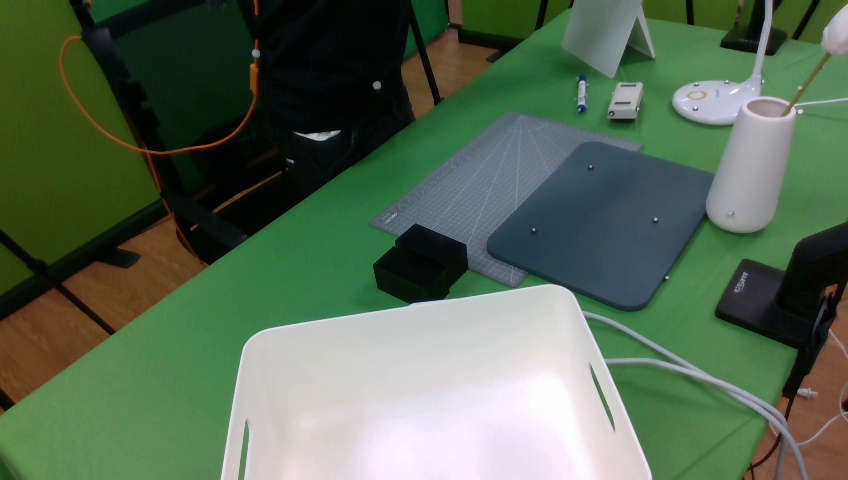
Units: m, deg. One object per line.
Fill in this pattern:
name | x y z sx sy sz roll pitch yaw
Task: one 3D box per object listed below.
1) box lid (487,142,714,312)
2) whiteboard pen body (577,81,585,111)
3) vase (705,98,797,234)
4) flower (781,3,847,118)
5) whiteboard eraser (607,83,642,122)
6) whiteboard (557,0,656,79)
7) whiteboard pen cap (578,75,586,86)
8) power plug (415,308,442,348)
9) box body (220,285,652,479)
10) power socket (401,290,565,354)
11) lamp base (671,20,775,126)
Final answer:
box lid | 0.298 -0.041 0.986 0.261 0.015 0.372 23 49 30
whiteboard pen body | 0.335 -0.313 1.292 0.017 0.017 0.140 3 40 12
vase | 0.480 -0.104 0.888 0.098 0.201 0.097 -4 42 4
flower | 0.480 -0.157 0.824 0.044 0.362 0.038 -9 56 -9
whiteboard eraser | 0.406 -0.277 1.222 0.055 0.042 0.112 9 43 21
whiteboard | 0.462 -0.542 1.366 0.145 0.306 0.215 -3 36 -25
whiteboard pen cap | 0.349 -0.351 1.334 0.018 0.018 0.033 3 39 13
power plug | 0.004 0.121 0.786 0.035 0.053 0.072 1 45 8
box body | 0.005 0.211 0.616 0.364 0.161 0.252 -9 40 -2
power socket | 0.079 0.111 0.823 0.227 0.033 0.072 -6 41 1
lamp base | 0.581 -0.332 1.154 0.179 0.181 0.160 2 41 7
